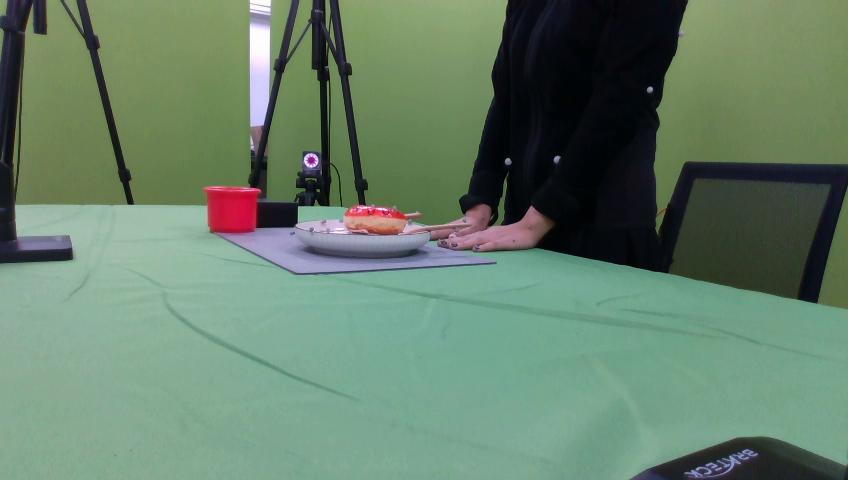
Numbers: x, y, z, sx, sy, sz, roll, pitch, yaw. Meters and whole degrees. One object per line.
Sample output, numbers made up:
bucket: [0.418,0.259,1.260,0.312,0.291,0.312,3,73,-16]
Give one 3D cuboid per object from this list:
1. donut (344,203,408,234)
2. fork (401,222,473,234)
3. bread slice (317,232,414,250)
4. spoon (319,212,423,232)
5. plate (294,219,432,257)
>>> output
donut: [-0.074,-0.031,0.931,0.099,0.048,0.099,4,3,0]
fork: [-0.016,-0.007,0.887,0.208,0.018,0.028,-14,0,-27]
bread slice: [-0.093,0.000,0.915,0.132,0.019,0.104,0,6,-26]
spoon: [-0.083,-0.027,1.005,0.194,0.021,0.041,-16,20,-30]
plate: [-0.092,-0.004,0.924,0.209,0.038,0.209,2,7,0]
